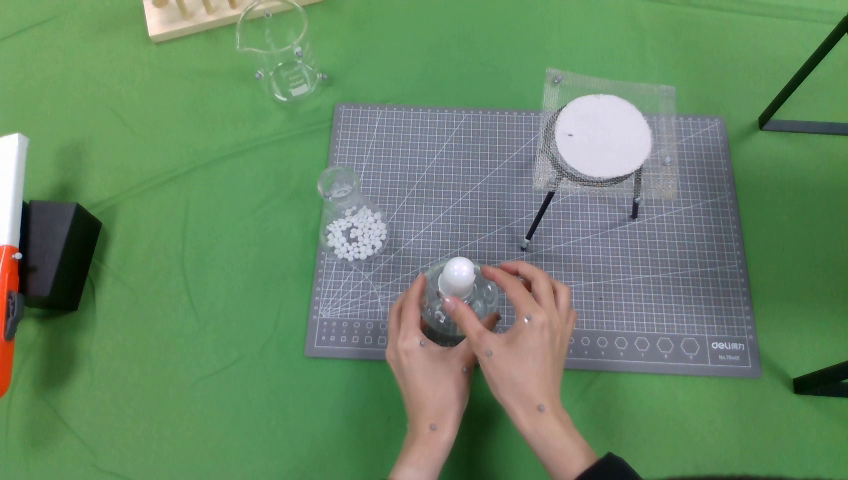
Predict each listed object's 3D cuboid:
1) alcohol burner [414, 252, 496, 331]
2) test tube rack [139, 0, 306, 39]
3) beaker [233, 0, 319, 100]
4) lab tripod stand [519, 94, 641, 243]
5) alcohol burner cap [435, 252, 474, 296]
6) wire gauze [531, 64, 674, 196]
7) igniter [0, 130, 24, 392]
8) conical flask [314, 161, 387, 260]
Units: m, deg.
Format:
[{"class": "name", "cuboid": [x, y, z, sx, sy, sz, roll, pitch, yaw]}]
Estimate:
[{"class": "alcohol burner", "cuboid": [0.029, 0.042, 0.560, 0.078, 0.120, 0.077, 0, 66, 1]}, {"class": "test tube rack", "cuboid": [-0.231, -0.325, 0.728, 0.242, 0.086, 0.066, -17, 70, -6]}, {"class": "beaker", "cuboid": [-0.163, -0.210, 0.676, 0.084, 0.101, 0.073, -38, 72, -13]}, {"class": "lab tripod stand", "cuboid": [0.154, -0.070, 0.599, 0.148, 0.132, 0.147, 0, 67, -1]}, {"class": "alcohol burner cap", "cuboid": [0.028, 0.027, 0.527, 0.034, 0.048, 0.033, 2, 68, -5]}, {"class": "wire gauze", "cuboid": [0.160, -0.099, 0.537, 0.121, 0.011, 0.124, 8, 70, 2]}, {"class": "igniter", "cuboid": [-0.410, 0.017, 0.580, 0.057, 0.025, 0.274, -14, 68, 7]}, {"class": "conical flask", "cuboid": [-0.078, -0.033, 0.593, 0.075, 0.122, 0.075, 0, 68, 1]}]
